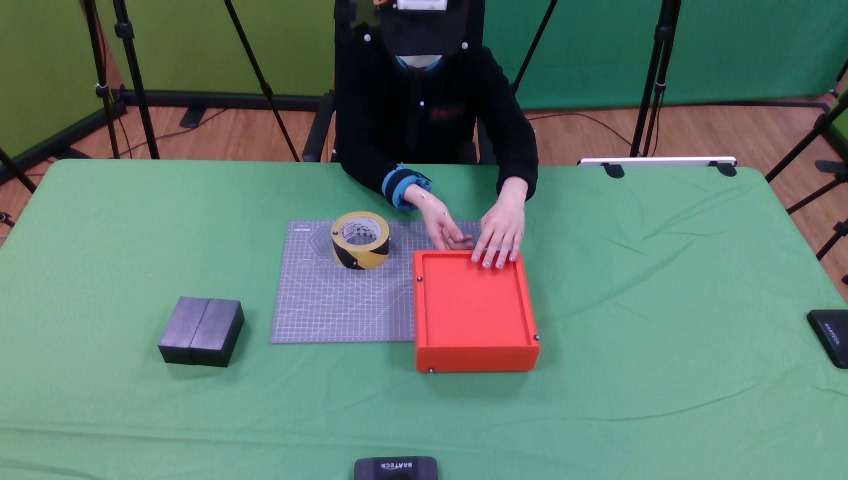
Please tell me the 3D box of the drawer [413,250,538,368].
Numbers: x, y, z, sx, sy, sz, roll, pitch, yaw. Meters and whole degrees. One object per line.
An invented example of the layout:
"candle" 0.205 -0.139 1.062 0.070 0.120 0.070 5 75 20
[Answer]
"drawer" 0.081 0.114 1.047 0.195 0.073 0.210 1 47 -4

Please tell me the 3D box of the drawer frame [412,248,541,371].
"drawer frame" 0.082 0.116 1.046 0.202 0.083 0.212 0 47 -4

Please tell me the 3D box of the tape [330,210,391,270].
"tape" -0.123 -0.002 1.164 0.117 0.053 0.116 3 46 -3
